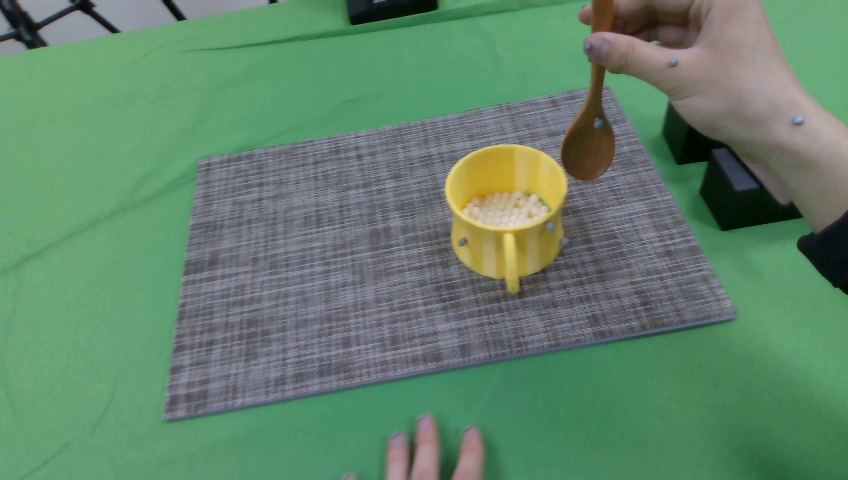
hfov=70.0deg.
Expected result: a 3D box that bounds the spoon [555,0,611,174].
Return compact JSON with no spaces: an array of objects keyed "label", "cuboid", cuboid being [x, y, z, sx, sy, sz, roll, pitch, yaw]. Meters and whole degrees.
[{"label":"spoon","cuboid":[0.109,-0.112,0.395,0.041,0.195,0.021,-5,57,6]}]

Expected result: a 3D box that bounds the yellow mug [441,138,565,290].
[{"label":"yellow mug","cuboid":[0.067,-0.018,0.506,0.100,0.064,0.129,-4,52,5]}]

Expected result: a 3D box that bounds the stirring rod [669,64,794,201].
[{"label":"stirring rod","cuboid":[0.258,-0.098,0.518,0.014,0.006,0.174,-38,47,24]}]
